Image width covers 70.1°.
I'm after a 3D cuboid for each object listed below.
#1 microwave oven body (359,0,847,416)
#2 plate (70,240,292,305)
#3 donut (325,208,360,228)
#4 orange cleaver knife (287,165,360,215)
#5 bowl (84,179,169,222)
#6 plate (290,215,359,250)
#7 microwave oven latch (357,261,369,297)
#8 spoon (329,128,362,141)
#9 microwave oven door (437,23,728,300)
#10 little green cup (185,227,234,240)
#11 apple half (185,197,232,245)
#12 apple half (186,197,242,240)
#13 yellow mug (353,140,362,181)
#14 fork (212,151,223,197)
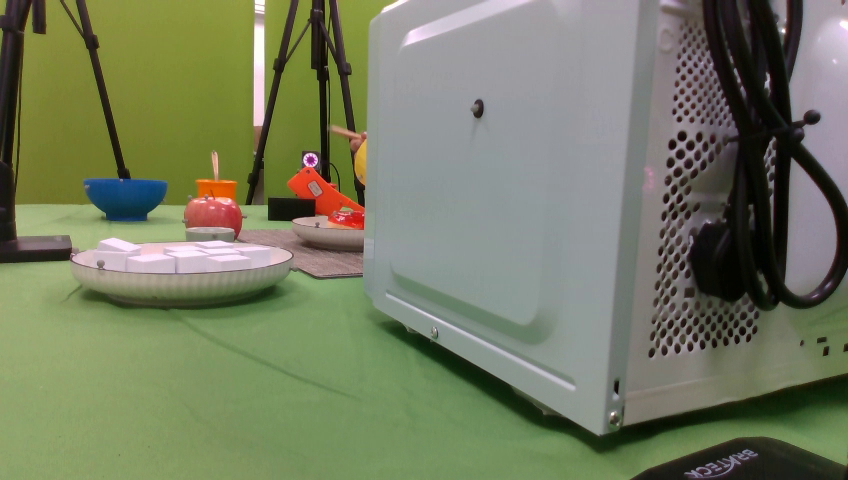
[{"bbox_3d":[0.211,-0.047,0.474,0.444,0.260,0.324,-1,7,-28],"label":"microwave oven body"},{"bbox_3d":[-0.242,0.031,0.618,0.208,0.039,0.207,2,8,0],"label":"plate"},{"bbox_3d":[-0.111,-0.025,0.974,0.099,0.048,0.099,5,8,0],"label":"donut"},{"bbox_3d":[-0.211,-0.093,1.382,0.212,0.077,0.012,33,1,-15],"label":"orange cleaver knife"},{"bbox_3d":[-0.584,-0.078,1.194,0.151,0.077,0.151,3,8,0],"label":"bowl"},{"bbox_3d":[-0.110,-0.014,0.973,0.209,0.038,0.209,2,8,0],"label":"plate"},{"bbox_3d":[-0.019,0.033,0.530,0.079,0.029,0.030,-1,7,-26],"label":"microwave oven latch"},{"bbox_3d":[-0.084,-0.151,0.953,0.193,0.021,0.042,30,27,34],"label":"spoon"},{"bbox_3d":[0.181,-0.072,0.621,0.358,0.243,0.039,-2,8,-29],"label":"microwave oven door"},{"bbox_3d":[-0.285,0.005,0.805,0.061,0.038,0.061,2,8,0],"label":"little green cup"},{"bbox_3d":[-0.337,-0.031,0.927,0.032,0.081,0.082,13,12,37],"label":"apple half"},{"bbox_3d":[-0.306,-0.026,0.904,0.053,0.074,0.081,14,9,37],"label":"apple half"},{"bbox_3d":[-0.044,-0.124,0.891,0.100,0.131,0.063,-11,38,-33],"label":"yellow mug"},{"bbox_3d":[-0.494,-0.143,1.442,0.028,0.018,0.206,-2,52,-20],"label":"fork"}]
